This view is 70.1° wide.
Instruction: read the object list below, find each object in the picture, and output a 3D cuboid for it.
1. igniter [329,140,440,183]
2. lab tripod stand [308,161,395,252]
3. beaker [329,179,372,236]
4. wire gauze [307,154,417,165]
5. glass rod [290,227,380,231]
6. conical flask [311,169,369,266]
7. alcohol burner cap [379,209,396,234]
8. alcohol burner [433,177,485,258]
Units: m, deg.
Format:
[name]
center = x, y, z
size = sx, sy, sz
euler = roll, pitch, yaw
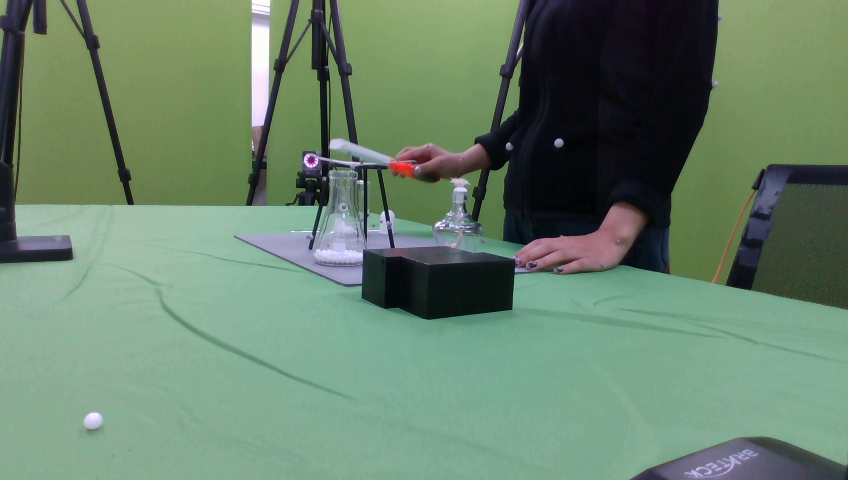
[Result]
[igniter]
center = -0.069, -0.151, 1.191
size = 0.057, 0.025, 0.278
euler = 9, -2, 43
[lab tripod stand]
center = -0.098, -0.053, 0.919
size = 0.148, 0.131, 0.148
euler = 4, 7, 0
[beaker]
center = -0.137, -0.061, 1.101
size = 0.084, 0.100, 0.074
euler = 4, 7, 20
[wire gauze]
center = -0.094, -0.120, 0.913
size = 0.122, 0.011, 0.124
euler = -5, 11, -45
[glass rod]
center = -0.161, -0.023, 1.177
size = 0.201, 0.008, 0.008
euler = -1, 8, -28
[conical flask]
center = -0.107, -0.031, 0.786
size = 0.075, 0.122, 0.075
euler = 2, 8, 0
[alcohol burner cap]
center = -0.069, -0.036, 1.154
size = 0.034, 0.048, 0.034
euler = 2, 6, 0
[alcohol burner]
center = 0.052, -0.033, 0.894
size = 0.078, 0.119, 0.078
euler = 2, 10, 0
